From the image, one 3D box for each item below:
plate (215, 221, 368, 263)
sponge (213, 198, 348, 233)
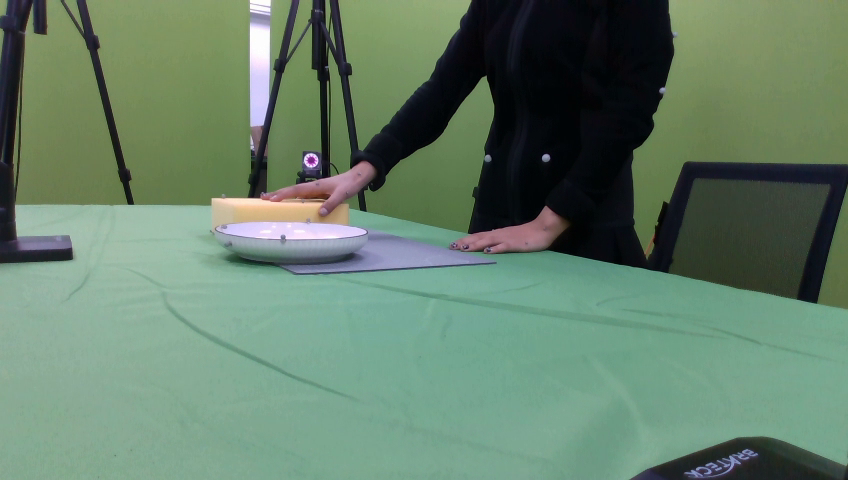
[{"bbox_3d":[-0.182,0.002,0.846,0.209,0.038,0.209,2,7,0],"label":"plate"},{"bbox_3d":[-0.251,-0.039,1.059,0.208,0.061,0.117,-3,9,-36],"label":"sponge"}]
